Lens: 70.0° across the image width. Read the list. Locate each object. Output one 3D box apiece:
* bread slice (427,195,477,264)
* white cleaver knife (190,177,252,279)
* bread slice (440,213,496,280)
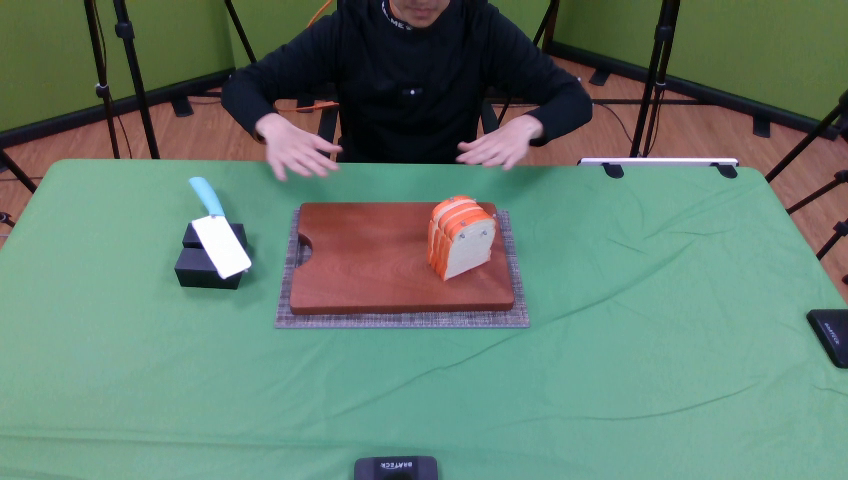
[{"bbox_3d":[0.052,-0.024,1.107,0.105,0.132,0.019,-22,46,-25],"label":"bread slice"},{"bbox_3d":[-0.397,-0.031,1.137,0.066,0.021,0.284,-20,49,-24],"label":"white cleaver knife"},{"bbox_3d":[0.078,0.008,1.077,0.107,0.135,0.018,-24,55,-21],"label":"bread slice"}]
